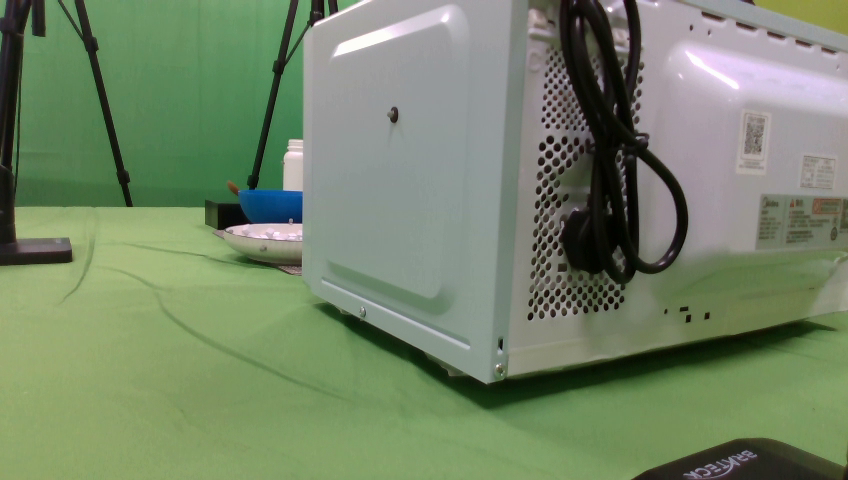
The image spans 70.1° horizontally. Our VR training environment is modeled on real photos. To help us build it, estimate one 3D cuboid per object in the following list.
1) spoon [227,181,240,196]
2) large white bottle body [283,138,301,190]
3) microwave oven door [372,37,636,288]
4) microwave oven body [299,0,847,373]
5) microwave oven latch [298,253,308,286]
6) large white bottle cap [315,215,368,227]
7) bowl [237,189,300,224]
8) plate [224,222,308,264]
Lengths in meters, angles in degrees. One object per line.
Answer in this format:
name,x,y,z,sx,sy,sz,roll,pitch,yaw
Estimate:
spoon,-0.315,-0.074,1.235,0.195,0.021,0.041,24,-9,-37
large white bottle body,-0.265,-0.144,1.423,0.131,0.184,0.130,2,7,0
microwave oven door,0.110,-0.080,0.686,0.358,0.243,0.039,-2,9,-33
microwave oven body,0.152,-0.055,0.542,0.444,0.260,0.324,-2,7,-33
microwave oven latch,-0.081,0.027,0.582,0.079,0.029,0.030,-1,7,-32
large white bottle cap,-0.178,-0.041,1.309,0.115,0.018,0.115,2,6,0
bowl,-0.247,-0.046,1.055,0.151,0.077,0.151,3,8,0
plate,-0.171,0.004,0.849,0.209,0.038,0.209,2,7,0
